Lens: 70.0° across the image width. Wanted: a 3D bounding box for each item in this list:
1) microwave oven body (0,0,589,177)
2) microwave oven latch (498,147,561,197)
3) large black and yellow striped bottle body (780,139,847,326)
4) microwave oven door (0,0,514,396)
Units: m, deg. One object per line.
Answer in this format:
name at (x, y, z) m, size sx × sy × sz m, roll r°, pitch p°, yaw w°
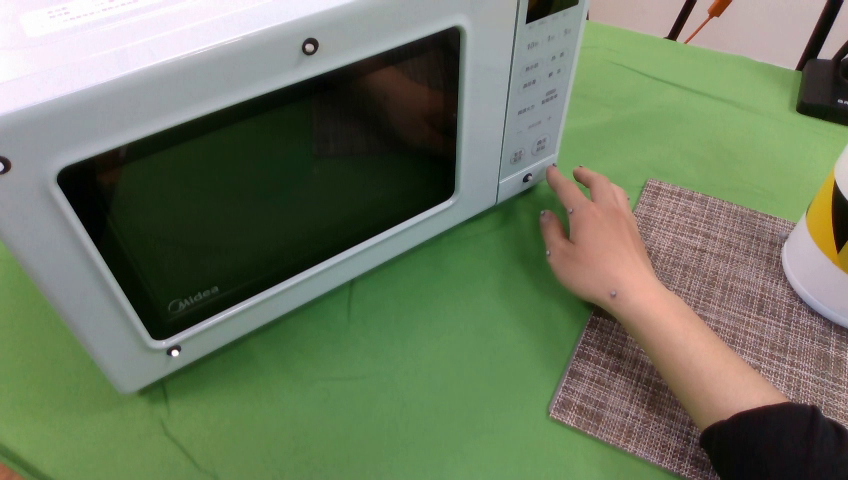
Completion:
microwave oven body at (-0.135, -0.149, 0.534) m, size 0.442 × 0.262 × 0.322 m, roll -28°, pitch 54°, yaw -22°
microwave oven latch at (0.096, -0.072, 0.594) m, size 0.079 × 0.030 × 0.030 m, roll -26°, pitch 53°, yaw -21°
large black and yellow striped bottle body at (0.381, -0.027, 0.471) m, size 0.131 × 0.185 × 0.129 m, roll 0°, pitch 48°, yaw 0°
microwave oven door at (-0.086, -0.047, 0.434) m, size 0.356 × 0.246 × 0.039 m, roll -28°, pitch 53°, yaw -23°
